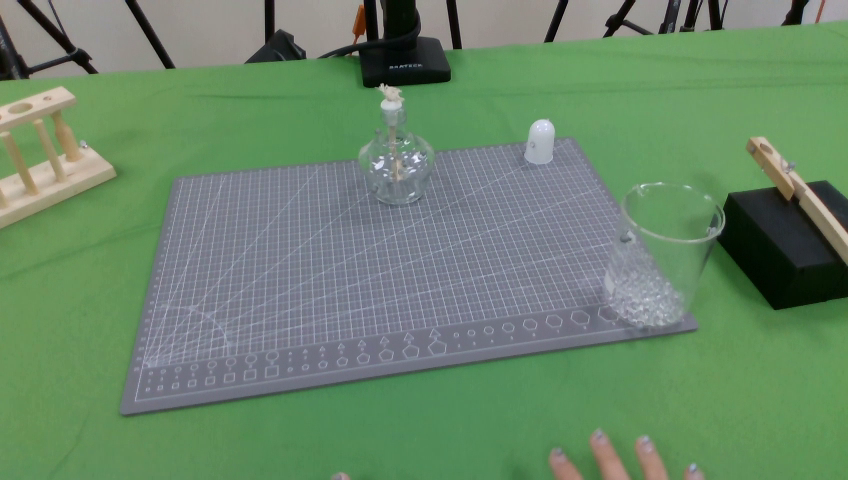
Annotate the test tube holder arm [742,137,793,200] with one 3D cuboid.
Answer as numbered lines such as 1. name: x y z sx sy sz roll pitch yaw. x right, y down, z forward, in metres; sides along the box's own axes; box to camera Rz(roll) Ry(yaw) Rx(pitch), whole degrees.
1. test tube holder arm: 0.325 -0.068 0.569 0.010 0.015 0.087 -10 42 2

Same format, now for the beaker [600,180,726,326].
1. beaker: 0.183 0.012 0.484 0.074 0.101 0.083 -13 42 -13

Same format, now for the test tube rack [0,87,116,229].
1. test tube rack: -0.441 -0.056 0.582 0.066 0.086 0.242 32 51 31

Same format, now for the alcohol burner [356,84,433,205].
1. alcohol burner: -0.030 -0.096 0.597 0.078 0.120 0.077 -2 40 2

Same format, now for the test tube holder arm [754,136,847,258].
1. test tube holder arm: 0.335 -0.040 0.535 0.013 0.015 0.176 -10 42 1

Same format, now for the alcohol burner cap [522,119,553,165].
1. alcohol burner cap: 0.126 -0.111 0.667 0.034 0.048 0.033 0 41 0
